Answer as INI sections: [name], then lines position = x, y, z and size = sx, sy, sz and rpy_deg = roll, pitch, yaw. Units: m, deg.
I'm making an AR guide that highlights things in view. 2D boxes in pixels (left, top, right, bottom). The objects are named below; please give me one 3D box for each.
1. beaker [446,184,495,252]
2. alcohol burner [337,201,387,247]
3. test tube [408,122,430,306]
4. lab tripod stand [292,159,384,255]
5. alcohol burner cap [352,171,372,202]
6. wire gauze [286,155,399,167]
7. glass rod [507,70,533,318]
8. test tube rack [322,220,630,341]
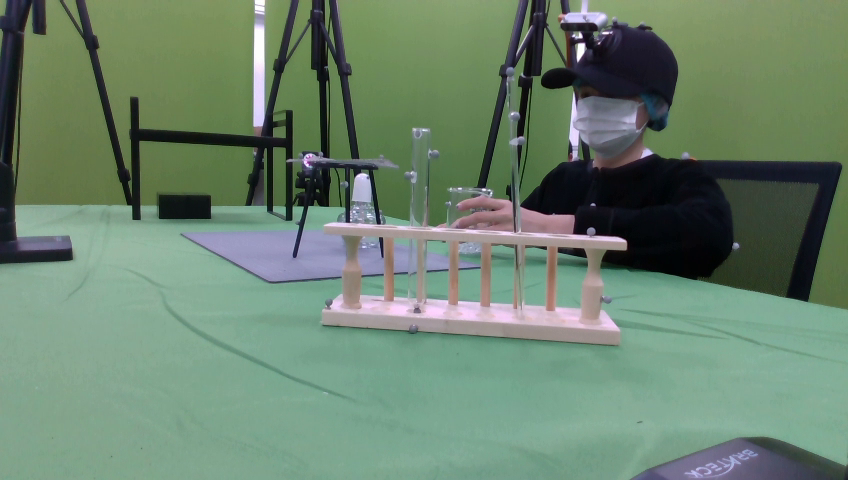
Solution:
[beaker]
position = 0.074, -0.035, 0.944
size = 0.074, 0.100, 0.083
rpy_deg = -7, 13, -42
[alcohol burner]
position = -0.098, -0.049, 0.954
size = 0.078, 0.119, 0.078
rpy_deg = 0, 7, 0
[test tube]
position = -0.004, -0.019, 0.489
size = 0.017, 0.150, 0.017
rpy_deg = 1, 11, 0
[lab tripod stand]
position = -0.105, -0.039, 0.797
size = 0.148, 0.131, 0.148
rpy_deg = 2, 5, 0
[alcohol burner cap]
position = -0.096, -0.084, 0.951
size = 0.034, 0.048, 0.034
rpy_deg = 6, 5, 0
[wire gauze]
position = -0.101, -0.105, 0.788
size = 0.121, 0.011, 0.125
rpy_deg = 4, 6, 6
[glass rod]
position = 0.076, -0.031, 0.476
size = 0.008, 0.199, 0.008
rpy_deg = -6, 12, 2
[test tube rack]
position = 0.041, 0.029, 0.512
size = 0.242, 0.085, 0.067
rpy_deg = 3, 7, 5
